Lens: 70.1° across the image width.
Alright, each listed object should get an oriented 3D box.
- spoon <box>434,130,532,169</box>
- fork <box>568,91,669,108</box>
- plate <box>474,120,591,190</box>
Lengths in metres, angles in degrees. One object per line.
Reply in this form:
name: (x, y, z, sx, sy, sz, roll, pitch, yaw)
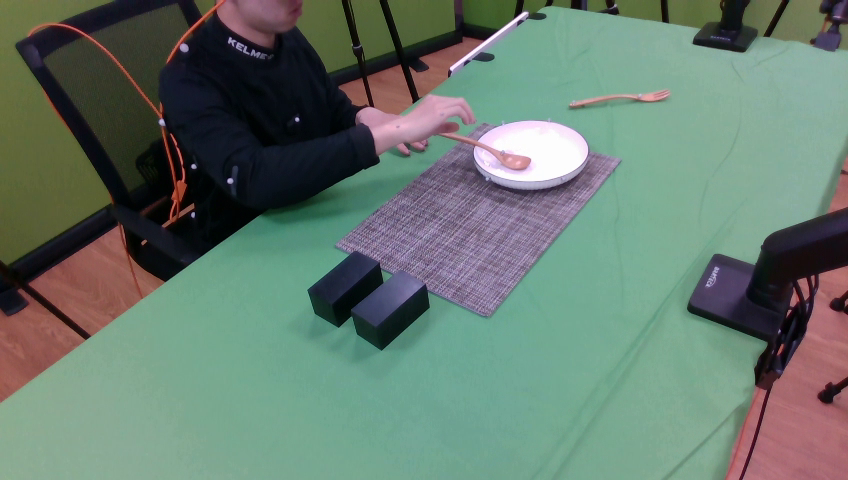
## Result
spoon: (0.106, -0.171, 1.112, 0.193, 0.022, 0.041, 25, 51, 15)
fork: (0.402, -0.290, 1.252, 0.207, 0.019, 0.028, -4, 47, 1)
plate: (0.196, -0.151, 1.099, 0.207, 0.039, 0.206, -4, 40, 4)
